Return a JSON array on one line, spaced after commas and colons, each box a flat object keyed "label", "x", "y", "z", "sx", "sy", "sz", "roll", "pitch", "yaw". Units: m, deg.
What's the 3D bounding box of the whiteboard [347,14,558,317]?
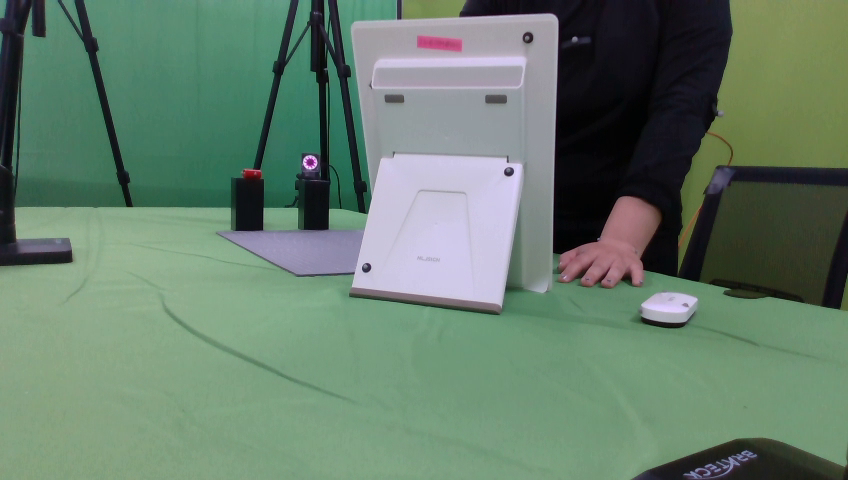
[{"label": "whiteboard", "x": 0.012, "y": -0.056, "z": 0.608, "sx": 0.216, "sy": 0.305, "sz": 0.144, "roll": 6, "pitch": 27, "yaw": 20}]

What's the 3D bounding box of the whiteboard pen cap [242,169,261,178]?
[{"label": "whiteboard pen cap", "x": -0.326, "y": -0.125, "z": 1.144, "sx": 0.032, "sy": 0.017, "sz": 0.017, "roll": 0, "pitch": 7, "yaw": -37}]

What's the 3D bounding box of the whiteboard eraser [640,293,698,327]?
[{"label": "whiteboard eraser", "x": 0.240, "y": 0.066, "z": 0.590, "sx": 0.041, "sy": 0.019, "sz": 0.102, "roll": 5, "pitch": 7, "yaw": 32}]

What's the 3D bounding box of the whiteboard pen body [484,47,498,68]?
[{"label": "whiteboard pen body", "x": 0.074, "y": -0.203, "z": 0.672, "sx": 0.017, "sy": 0.017, "sz": 0.140, "roll": 3, "pitch": 21, "yaw": 5}]
